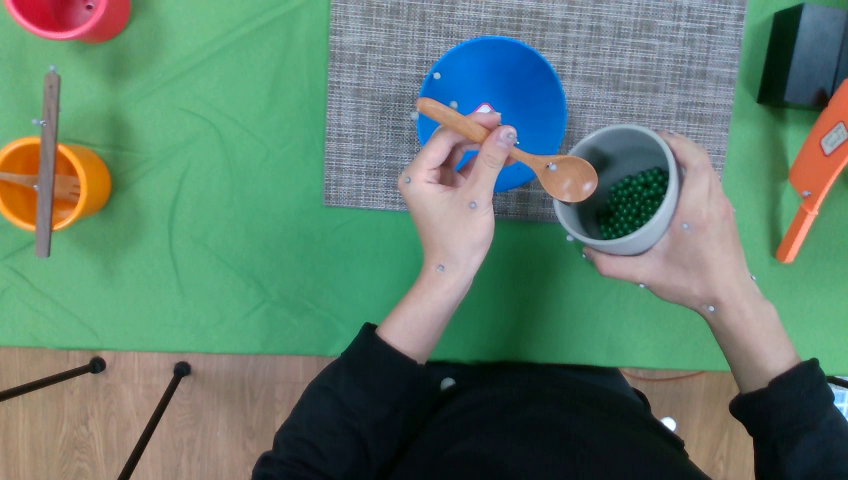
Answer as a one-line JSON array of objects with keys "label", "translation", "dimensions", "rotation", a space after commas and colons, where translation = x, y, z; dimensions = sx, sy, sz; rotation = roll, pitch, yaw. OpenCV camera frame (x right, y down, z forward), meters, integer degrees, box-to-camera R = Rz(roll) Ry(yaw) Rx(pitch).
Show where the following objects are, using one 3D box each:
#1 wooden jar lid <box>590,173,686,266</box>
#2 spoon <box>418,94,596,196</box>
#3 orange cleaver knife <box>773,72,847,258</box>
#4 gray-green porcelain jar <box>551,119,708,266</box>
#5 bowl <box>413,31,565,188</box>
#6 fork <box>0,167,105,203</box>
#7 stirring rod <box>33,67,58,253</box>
[{"label": "wooden jar lid", "translation": [0.241, -0.023, 0.687], "dimensions": [0.108, 0.020, 0.109], "rotation": [-1, 106, -2]}, {"label": "spoon", "translation": [0.071, -0.073, 0.472], "dimensions": [0.195, 0.021, 0.042], "rotation": [16, 124, -41]}, {"label": "orange cleaver knife", "translation": [0.425, -0.075, 0.664], "dimensions": [0.012, 0.076, 0.213], "rotation": [0, 129, -7]}, {"label": "gray-green porcelain jar", "translation": [0.190, -0.036, 0.547], "dimensions": [0.128, 0.104, 0.106], "rotation": [20, 100, -48]}, {"label": "bowl", "translation": [0.062, -0.131, 0.626], "dimensions": [0.151, 0.076, 0.152], "rotation": [-1, 100, -4]}, {"label": "fork", "translation": [-0.411, -0.069, 0.571], "dimensions": [0.209, 0.018, 0.028], "rotation": [15, 111, -50]}, {"label": "stirring rod", "translation": [-0.358, -0.073, 0.573], "dimensions": [0.014, 0.006, 0.176], "rotation": [8, 100, -8]}]
